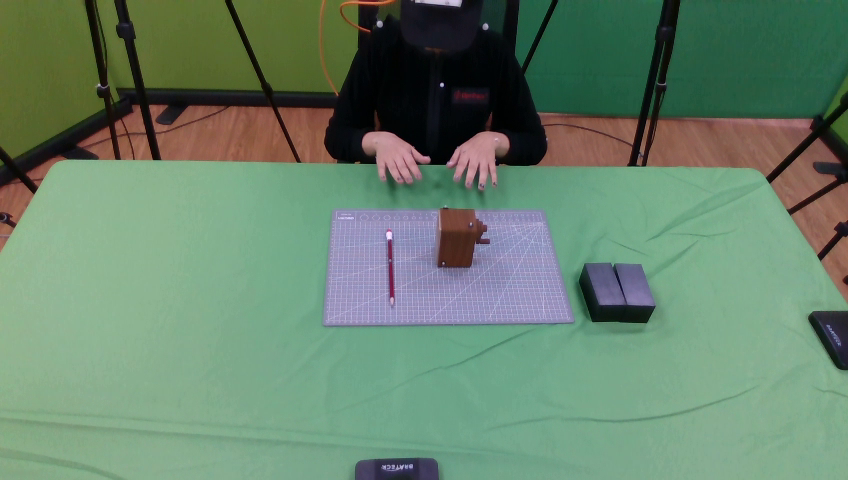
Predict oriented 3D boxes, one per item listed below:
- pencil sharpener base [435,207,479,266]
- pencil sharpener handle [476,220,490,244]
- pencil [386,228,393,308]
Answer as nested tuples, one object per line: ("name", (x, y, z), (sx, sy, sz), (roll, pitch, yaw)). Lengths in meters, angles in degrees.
("pencil sharpener base", (0.061, -0.004, 1.144), (0.077, 0.107, 0.061), (1, 46, -4))
("pencil sharpener handle", (0.113, -0.014, 1.140), (0.031, 0.068, 0.036), (1, 56, -3))
("pencil", (-0.065, 0.050, 1.152), (0.012, 0.012, 0.193), (-1, 48, -4))
